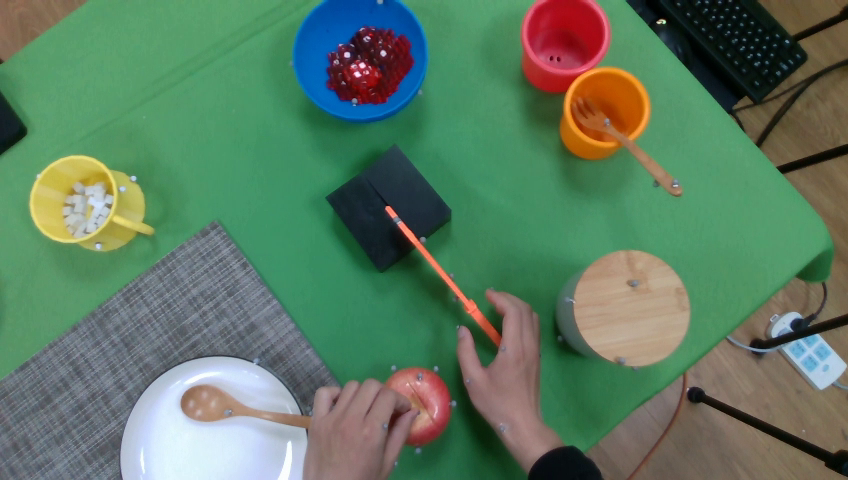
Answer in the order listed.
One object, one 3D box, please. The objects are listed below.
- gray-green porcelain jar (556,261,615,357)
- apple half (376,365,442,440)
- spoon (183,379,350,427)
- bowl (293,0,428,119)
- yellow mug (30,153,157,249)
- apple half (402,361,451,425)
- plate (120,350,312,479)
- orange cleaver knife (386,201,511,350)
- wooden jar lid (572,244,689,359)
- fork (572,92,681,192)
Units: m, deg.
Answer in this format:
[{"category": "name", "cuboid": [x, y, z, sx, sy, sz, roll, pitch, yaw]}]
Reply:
[{"category": "gray-green porcelain jar", "cuboid": [0.196, 0.068, 0.633, 0.106, 0.127, 0.105, 0, 82, 3]}, {"category": "apple half", "cuboid": [-0.023, 0.180, 0.651, 0.053, 0.075, 0.080, -33, 86, -6]}, {"category": "spoon", "cuboid": [-0.173, 0.184, 0.658, 0.193, 0.022, 0.041, 6, 72, 15]}, {"category": "bowl", "cuboid": [-0.068, -0.204, 0.702, 0.151, 0.077, 0.151, 0, 83, 2]}, {"category": "yellow mug", "cuboid": [-0.369, -0.037, 0.697, 0.131, 0.064, 0.100, 23, 83, 4]}, {"category": "apple half", "cuboid": [0.010, 0.158, 0.655, 0.033, 0.081, 0.081, -33, 82, -3]}, {"category": "plate", "cuboid": [-0.224, 0.225, 0.667, 0.209, 0.038, 0.208, 0, 83, 2]}, {"category": "orange cleaver knife", "cuboid": [0.028, 0.040, 0.661, 0.012, 0.076, 0.213, -39, 115, 0]}, {"category": "wooden jar lid", "cuboid": [0.193, 0.058, 0.572, 0.108, 0.021, 0.108, 0, 84, 1]}, {"category": "fork", "cuboid": [0.211, -0.109, 0.644, 0.028, 0.019, 0.205, -21, 39, -2]}]
